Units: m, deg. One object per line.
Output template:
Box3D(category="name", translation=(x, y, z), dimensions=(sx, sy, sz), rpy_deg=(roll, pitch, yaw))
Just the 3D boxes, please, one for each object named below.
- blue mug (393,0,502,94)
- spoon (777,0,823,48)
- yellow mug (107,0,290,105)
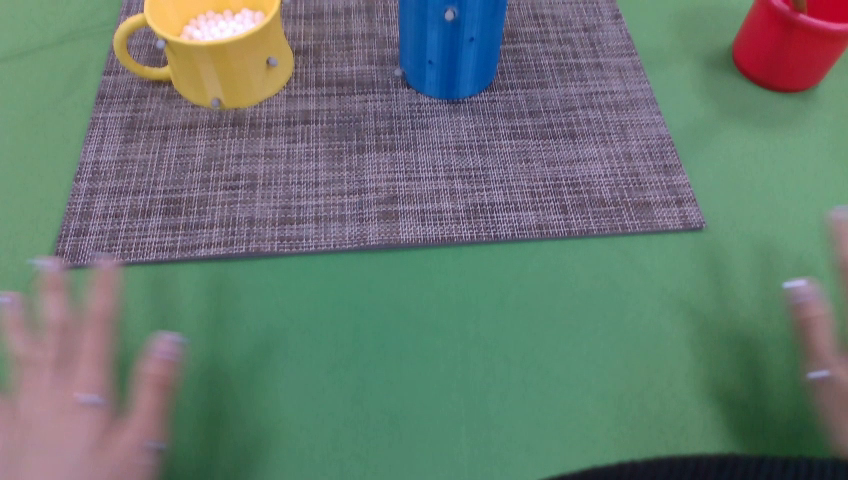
Box3D(category="blue mug", translation=(0.028, -0.190, 0.475), dimensions=(0.082, 0.106, 0.116), rpy_deg=(35, 63, 18))
Box3D(category="spoon", translation=(0.281, -0.181, 0.463), dimensions=(0.041, 0.022, 0.195), rpy_deg=(50, 25, 26))
Box3D(category="yellow mug", translation=(-0.175, -0.160, 0.469), dimensions=(0.131, 0.064, 0.099), rpy_deg=(-17, 60, -11))
